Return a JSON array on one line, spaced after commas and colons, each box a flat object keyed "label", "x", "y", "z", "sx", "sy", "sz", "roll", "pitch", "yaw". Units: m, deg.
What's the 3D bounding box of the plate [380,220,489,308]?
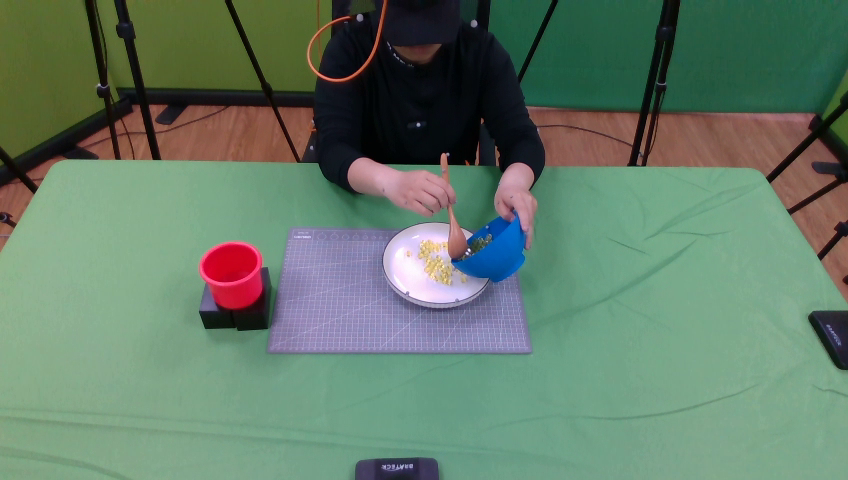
[{"label": "plate", "x": 0.022, "y": 0.048, "z": 1.138, "sx": 0.208, "sy": 0.039, "sz": 0.206, "roll": 2, "pitch": 46, "yaw": -2}]

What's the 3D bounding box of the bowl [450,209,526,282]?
[{"label": "bowl", "x": 0.129, "y": 0.022, "z": 1.077, "sx": 0.077, "sy": 0.151, "sz": 0.151, "roll": 51, "pitch": 54, "yaw": -9}]

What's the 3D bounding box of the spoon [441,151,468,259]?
[{"label": "spoon", "x": 0.047, "y": -0.061, "z": 1.081, "sx": 0.042, "sy": 0.194, "sz": 0.021, "roll": -13, "pitch": 6, "yaw": -23}]
